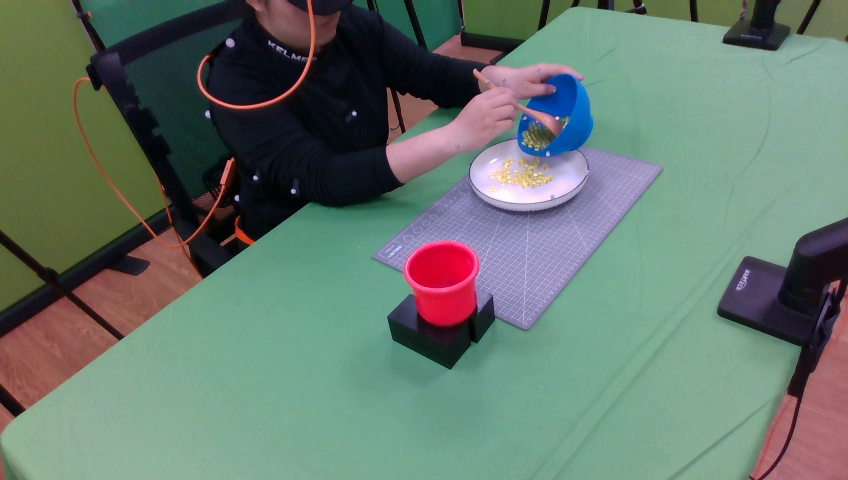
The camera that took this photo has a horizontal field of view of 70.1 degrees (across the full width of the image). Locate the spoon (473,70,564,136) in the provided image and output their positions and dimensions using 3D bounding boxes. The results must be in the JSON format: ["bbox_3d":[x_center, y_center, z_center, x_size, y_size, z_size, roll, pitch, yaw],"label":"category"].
[{"bbox_3d":[0.161,-0.228,1.016,0.194,0.021,0.041,29,42,-8],"label":"spoon"}]

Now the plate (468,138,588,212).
[{"bbox_3d":[0.182,-0.111,1.064,0.207,0.039,0.206,-5,40,5],"label":"plate"}]

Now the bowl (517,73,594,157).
[{"bbox_3d":[0.241,-0.205,1.055,0.077,0.151,0.150,23,31,-27],"label":"bowl"}]
